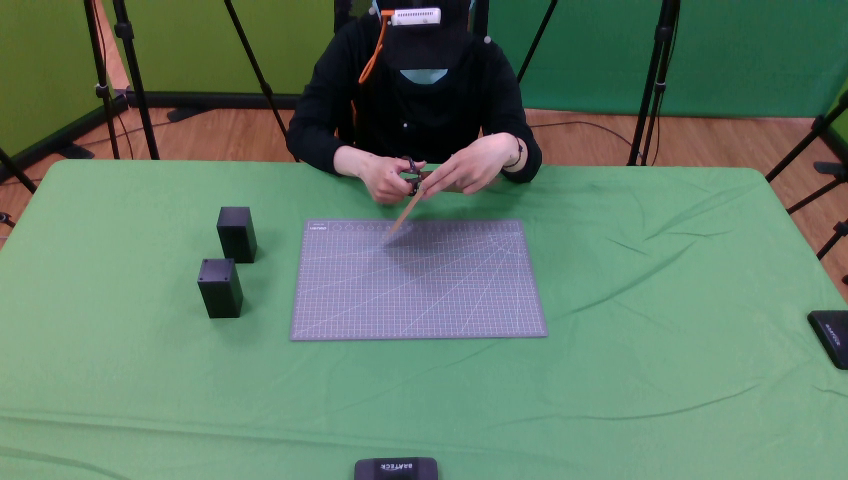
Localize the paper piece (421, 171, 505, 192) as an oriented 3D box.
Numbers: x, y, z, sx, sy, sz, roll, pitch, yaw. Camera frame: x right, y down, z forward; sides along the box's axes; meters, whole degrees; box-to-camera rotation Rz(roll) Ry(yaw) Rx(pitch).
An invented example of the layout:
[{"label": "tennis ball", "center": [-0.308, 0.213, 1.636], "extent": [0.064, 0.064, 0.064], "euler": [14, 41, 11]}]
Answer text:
[{"label": "paper piece", "center": [0.070, -0.113, 1.192], "extent": [0.138, 0.136, 0.008], "euler": [-4, 82, -21]}]

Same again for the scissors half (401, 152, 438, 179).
[{"label": "scissors half", "center": [-0.010, -0.140, 1.170], "extent": [0.013, 0.040, 0.174], "euler": [-25, 28, -15]}]

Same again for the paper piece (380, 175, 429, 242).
[{"label": "paper piece", "center": [-0.035, -0.063, 1.142], "extent": [0.004, 0.135, 0.135], "euler": [36, 71, -3]}]

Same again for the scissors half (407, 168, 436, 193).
[{"label": "scissors half", "center": [-0.003, -0.119, 1.175], "extent": [0.013, 0.175, 0.040], "euler": [-20, 90, -16]}]
